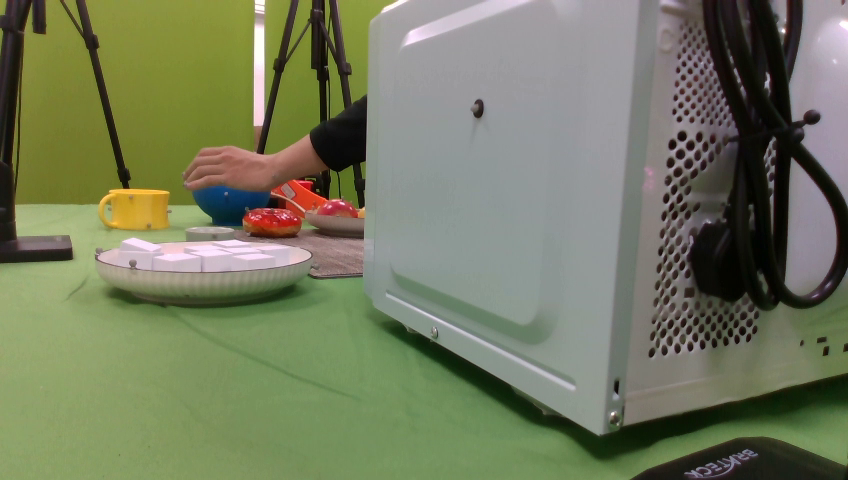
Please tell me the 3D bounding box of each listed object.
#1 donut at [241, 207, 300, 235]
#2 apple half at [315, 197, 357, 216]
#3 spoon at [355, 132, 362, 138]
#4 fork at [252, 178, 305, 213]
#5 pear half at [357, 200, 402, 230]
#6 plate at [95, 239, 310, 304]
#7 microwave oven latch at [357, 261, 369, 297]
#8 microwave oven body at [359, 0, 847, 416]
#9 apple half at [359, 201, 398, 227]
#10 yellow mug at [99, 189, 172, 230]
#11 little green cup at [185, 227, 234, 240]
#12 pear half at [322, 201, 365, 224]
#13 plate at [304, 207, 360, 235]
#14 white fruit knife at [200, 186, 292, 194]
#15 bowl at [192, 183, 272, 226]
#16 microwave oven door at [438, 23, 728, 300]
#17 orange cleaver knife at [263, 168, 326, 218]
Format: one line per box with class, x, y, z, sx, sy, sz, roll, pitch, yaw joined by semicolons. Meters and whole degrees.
donut;-0.263;-0.031;1.039;0.099;0.048;0.099;5;9;0
apple half;-0.162;-0.052;1.121;0.081;0.053;0.074;5;7;-14
spoon;-0.089;-0.253;1.368;0.041;0.021;0.194;7;24;32
fork;-0.295;-0.084;1.292;0.206;0.018;0.028;29;10;25
pear half;-0.075;-0.046;1.133;0.076;0.056;0.110;12;7;31
plate;-0.224;0.031;0.629;0.208;0.039;0.207;2;8;0
microwave oven latch;-0.019;0.033;0.530;0.079;0.029;0.030;-1;7;-27
microwave oven body;0.211;-0.047;0.474;0.444;0.260;0.324;-1;7;-28
apple half;-0.088;-0.058;1.190;0.081;0.033;0.081;9;29;-5
yellow mug;-0.518;-0.055;1.080;0.099;0.064;0.131;7;9;26
little green cup;-0.285;0.005;0.805;0.061;0.038;0.061;2;8;0
pear half;-0.157;-0.059;1.197;0.088;0.031;0.070;12;30;-4
plate;-0.123;-0.037;1.149;0.209;0.038;0.209;2;7;0
white fruit knife;-0.399;-0.111;1.368;0.208;0.016;0.027;-4;-19;-30
bowl;-0.381;-0.071;1.202;0.151;0.077;0.151;3;7;0
microwave oven door;0.181;-0.073;0.621;0.358;0.243;0.039;-2;8;-29
orange cleaver knife;-0.262;-0.087;1.353;0.211;0.077;0.012;28;13;-1
